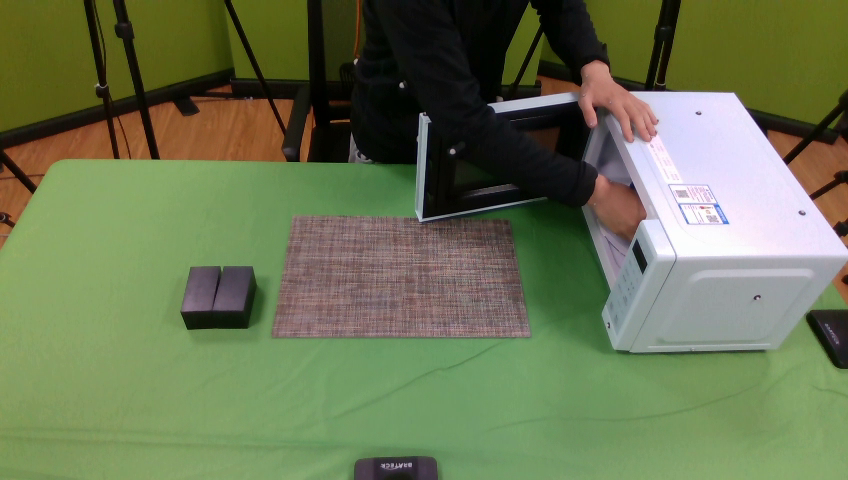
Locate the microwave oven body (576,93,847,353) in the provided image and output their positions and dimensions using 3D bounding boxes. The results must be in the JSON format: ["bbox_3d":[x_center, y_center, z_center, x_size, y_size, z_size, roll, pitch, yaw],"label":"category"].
[{"bbox_3d":[0.475,-0.041,1.109,0.326,0.261,0.438,-1,45,-4],"label":"microwave oven body"}]

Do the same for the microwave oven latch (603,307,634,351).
[{"bbox_3d":[0.332,0.153,1.044,0.030,0.029,0.078,0,45,-3],"label":"microwave oven latch"}]

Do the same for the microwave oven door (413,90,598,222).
[{"bbox_3d":[0.157,-0.165,1.198,0.356,0.245,0.039,-11,48,-15],"label":"microwave oven door"}]
